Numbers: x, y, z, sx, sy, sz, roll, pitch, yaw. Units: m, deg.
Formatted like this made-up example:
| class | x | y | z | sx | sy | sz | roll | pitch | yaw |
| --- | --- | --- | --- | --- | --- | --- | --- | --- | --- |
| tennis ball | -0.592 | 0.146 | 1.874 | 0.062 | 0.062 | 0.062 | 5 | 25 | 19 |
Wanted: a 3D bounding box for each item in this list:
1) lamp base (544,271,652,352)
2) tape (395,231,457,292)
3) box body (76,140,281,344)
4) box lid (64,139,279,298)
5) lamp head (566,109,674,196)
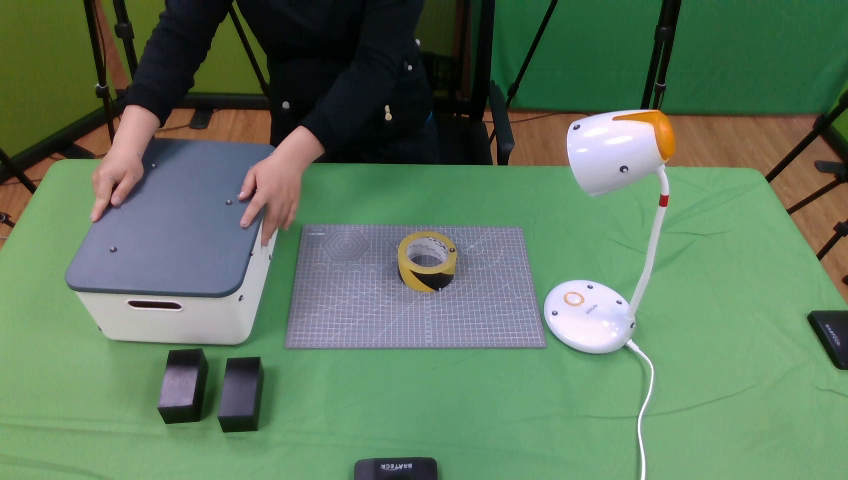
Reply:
| class | x | y | z | sx | sy | sz | roll | pitch | yaw |
| --- | --- | --- | --- | --- | --- | --- | --- | --- | --- |
| lamp base | 0.309 | 0.086 | 1.029 | 0.178 | 0.181 | 0.160 | 32 | 52 | 21 |
| tape | 0.004 | 0.039 | 1.136 | 0.117 | 0.053 | 0.116 | 2 | 46 | -1 |
| box body | -0.407 | -0.002 | 1.071 | 0.254 | 0.161 | 0.361 | 2 | 46 | -2 |
| box lid | -0.404 | -0.051 | 1.017 | 0.263 | 0.015 | 0.369 | 3 | 46 | -2 |
| lamp head | 0.272 | -0.123 | 0.818 | 0.122 | 0.113 | 0.112 | -9 | 35 | 37 |
